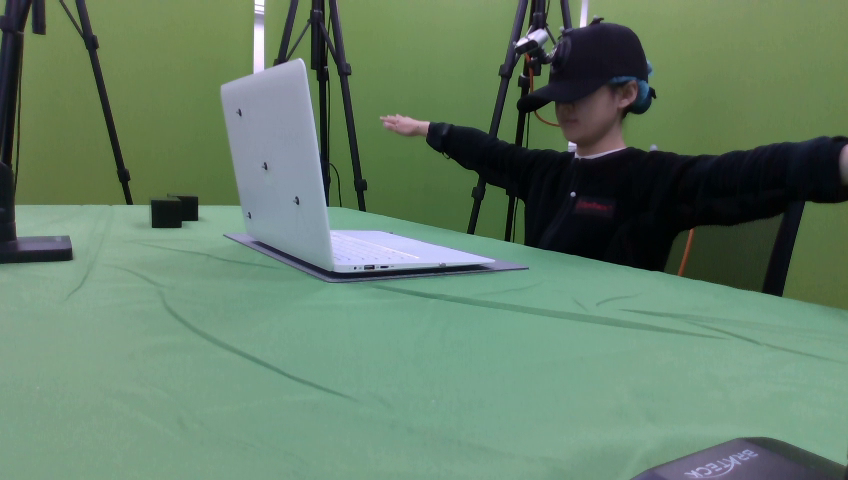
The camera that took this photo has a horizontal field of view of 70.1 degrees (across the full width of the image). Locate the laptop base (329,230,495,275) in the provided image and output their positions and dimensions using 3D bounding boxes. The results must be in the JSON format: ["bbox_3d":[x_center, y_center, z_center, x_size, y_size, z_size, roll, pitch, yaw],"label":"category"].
[{"bbox_3d":[-0.093,0.015,0.883,0.237,0.023,0.352,3,6,-33],"label":"laptop base"}]

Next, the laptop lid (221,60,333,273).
[{"bbox_3d":[-0.205,-0.098,0.794,0.013,0.241,0.355,-13,16,-30],"label":"laptop lid"}]
